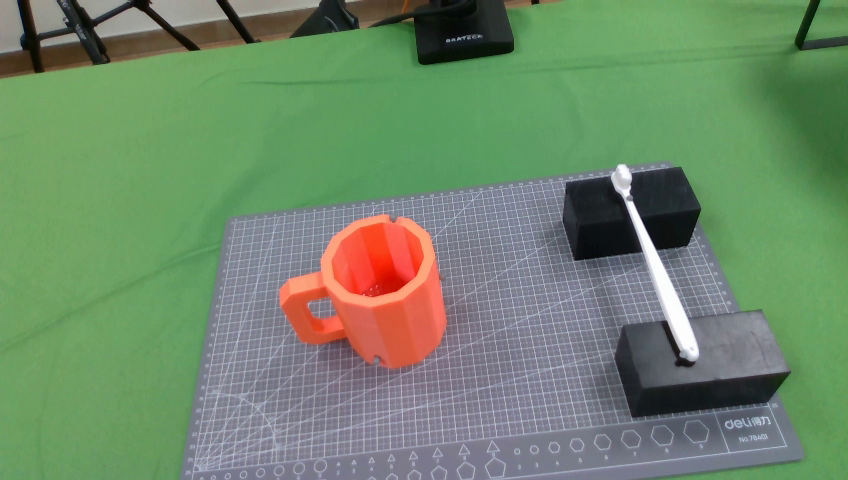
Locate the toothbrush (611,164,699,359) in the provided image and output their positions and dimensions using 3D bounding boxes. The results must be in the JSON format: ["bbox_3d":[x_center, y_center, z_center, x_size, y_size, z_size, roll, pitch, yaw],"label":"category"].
[{"bbox_3d":[0.176,0.008,0.467,0.014,0.017,0.180,1,52,-10],"label":"toothbrush"}]

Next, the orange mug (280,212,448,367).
[{"bbox_3d":[-0.046,0.045,0.481,0.126,0.102,0.082,-11,51,-6],"label":"orange mug"}]
